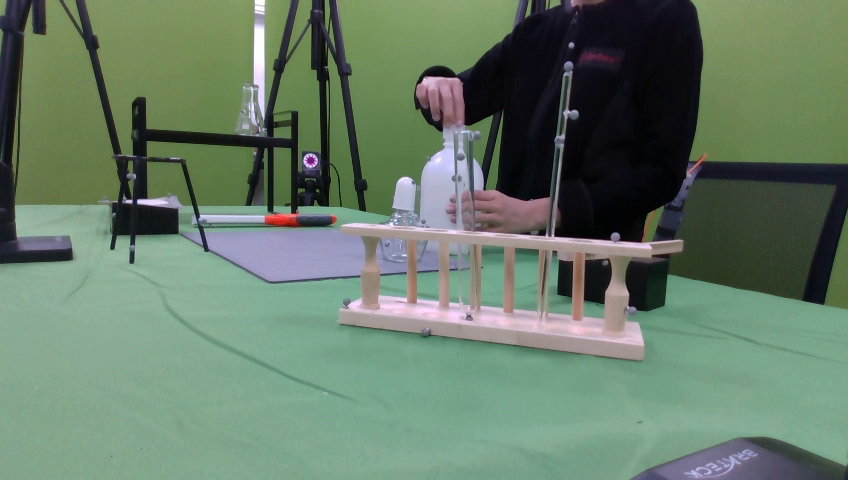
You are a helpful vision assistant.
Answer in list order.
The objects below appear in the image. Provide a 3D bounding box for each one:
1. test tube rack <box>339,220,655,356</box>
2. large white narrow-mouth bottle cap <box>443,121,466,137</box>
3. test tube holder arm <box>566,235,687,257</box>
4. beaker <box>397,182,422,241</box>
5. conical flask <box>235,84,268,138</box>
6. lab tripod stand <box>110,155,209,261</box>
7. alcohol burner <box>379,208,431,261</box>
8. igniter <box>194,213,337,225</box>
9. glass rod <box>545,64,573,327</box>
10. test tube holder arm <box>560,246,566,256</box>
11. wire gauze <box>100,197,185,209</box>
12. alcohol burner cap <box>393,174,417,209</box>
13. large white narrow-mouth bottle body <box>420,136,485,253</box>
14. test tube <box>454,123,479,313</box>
[{"bbox_3d":[0.056,0.032,0.495,0.242,0.085,0.067,4,7,15],"label":"test tube rack"},{"bbox_3d":[0.048,-0.173,0.943,0.038,0.024,0.037,2,8,0],"label":"large white narrow-mouth bottle cap"},{"bbox_3d":[0.215,0.006,0.630,0.179,0.015,0.013,-3,9,-31],"label":"test tube holder arm"},{"bbox_3d":[-0.011,-0.051,1.078,0.074,0.100,0.083,-2,9,-26],"label":"beaker"},{"bbox_3d":[-0.402,-0.299,1.406,0.075,0.122,0.075,2,7,0],"label":"conical flask"},{"bbox_3d":[-0.361,-0.046,0.806,0.148,0.131,0.148,2,5,0],"label":"lab tripod stand"},{"bbox_3d":[-0.027,-0.031,0.838,0.078,0.119,0.078,0,6,0],"label":"alcohol burner"},{"bbox_3d":[-0.306,-0.042,1.196,0.278,0.025,0.057,-2,-2,-31],"label":"igniter"},{"bbox_3d":[0.101,-0.028,0.453,0.008,0.199,0.008,1,14,0],"label":"glass rod"},{"bbox_3d":[0.173,0.007,0.612,0.088,0.015,0.010,-3,9,-30],"label":"test tube holder arm"},{"bbox_3d":[-0.469,-0.062,1.008,0.126,0.011,0.121,-2,8,-25],"label":"wire gauze"},{"bbox_3d":[-0.025,-0.067,0.834,0.034,0.048,0.034,8,7,-1],"label":"alcohol burner cap"},{"bbox_3d":[0.046,-0.081,0.956,0.102,0.194,0.102,2,8,0],"label":"large white narrow-mouth bottle body"},{"bbox_3d":[0.034,-0.016,0.477,0.017,0.150,0.017,-2,9,1],"label":"test tube"}]
